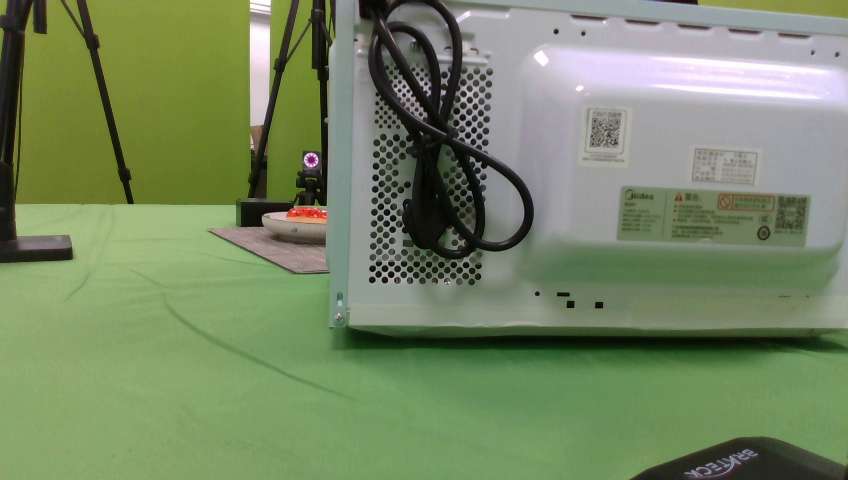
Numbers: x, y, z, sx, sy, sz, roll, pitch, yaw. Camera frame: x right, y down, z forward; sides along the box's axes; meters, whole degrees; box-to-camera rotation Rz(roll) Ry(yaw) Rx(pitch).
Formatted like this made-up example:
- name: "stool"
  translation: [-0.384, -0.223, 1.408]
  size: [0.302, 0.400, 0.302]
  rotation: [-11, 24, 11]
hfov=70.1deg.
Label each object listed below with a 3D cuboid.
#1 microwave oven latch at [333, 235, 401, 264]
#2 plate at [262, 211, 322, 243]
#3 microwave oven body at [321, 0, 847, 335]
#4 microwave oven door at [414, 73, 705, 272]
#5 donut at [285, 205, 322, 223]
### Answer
- name: "microwave oven latch"
  translation: [-0.066, 0.011, 0.700]
  size: [0.079, 0.029, 0.030]
  rotation: [2, 6, -8]
- name: "plate"
  translation: [-0.170, -0.023, 1.035]
  size: [0.209, 0.038, 0.209]
  rotation: [2, 7, 0]
- name: "microwave oven body"
  translation: [0.133, -0.062, 0.568]
  size: [0.443, 0.260, 0.325]
  rotation: [2, 6, -8]
- name: "microwave oven door"
  translation: [0.165, -0.094, 0.793]
  size: [0.355, 0.243, 0.039]
  rotation: [5, 8, 18]
- name: "donut"
  translation: [-0.186, -0.034, 1.031]
  size: [0.099, 0.048, 0.099]
  rotation: [3, 5, 0]
